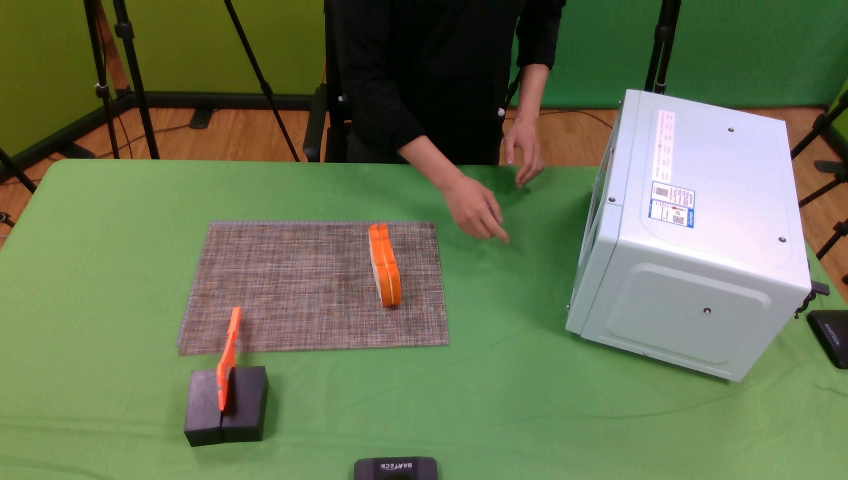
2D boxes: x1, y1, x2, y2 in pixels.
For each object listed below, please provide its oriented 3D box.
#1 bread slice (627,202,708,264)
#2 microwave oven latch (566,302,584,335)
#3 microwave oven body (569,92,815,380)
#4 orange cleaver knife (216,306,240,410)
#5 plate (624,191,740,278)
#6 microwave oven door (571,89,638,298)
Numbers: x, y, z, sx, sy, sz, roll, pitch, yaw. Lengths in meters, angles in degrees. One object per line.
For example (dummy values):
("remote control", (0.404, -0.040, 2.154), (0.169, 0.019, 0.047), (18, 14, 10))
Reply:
("bread slice", (0.474, -0.021, 1.169), (0.134, 0.018, 0.106), (-30, 56, -16))
("microwave oven latch", (0.268, 0.126, 1.059), (0.030, 0.029, 0.079), (16, 46, 12))
("microwave oven body", (0.468, -0.022, 1.082), (0.325, 0.261, 0.440), (15, 46, 11))
("orange cleaver knife", (-0.307, 0.180, 0.957), (0.012, 0.077, 0.210), (-2, 25, -8))
("plate", (0.482, -0.007, 1.147), (0.208, 0.039, 0.206), (0, 49, 0))
("microwave oven door", (0.343, -0.091, 1.133), (0.039, 0.245, 0.354), (15, 47, 10))
